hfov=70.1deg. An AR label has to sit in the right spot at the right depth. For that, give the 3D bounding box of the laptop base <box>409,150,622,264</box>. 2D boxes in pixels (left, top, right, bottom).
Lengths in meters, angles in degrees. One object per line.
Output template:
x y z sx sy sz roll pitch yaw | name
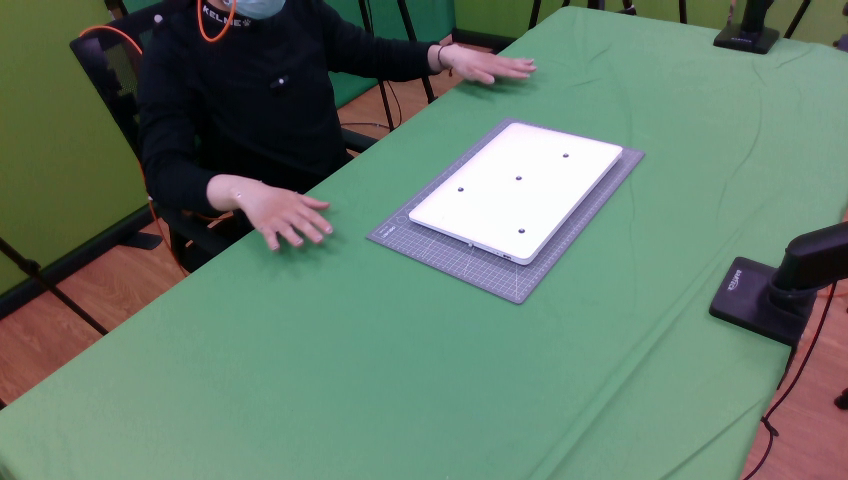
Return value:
0.168 -0.095 1.057 0.233 0.023 0.355 20 47 33 | laptop base

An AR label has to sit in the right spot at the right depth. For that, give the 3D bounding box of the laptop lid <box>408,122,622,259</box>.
0.165 -0.105 1.050 0.240 0.013 0.358 22 48 33 | laptop lid
